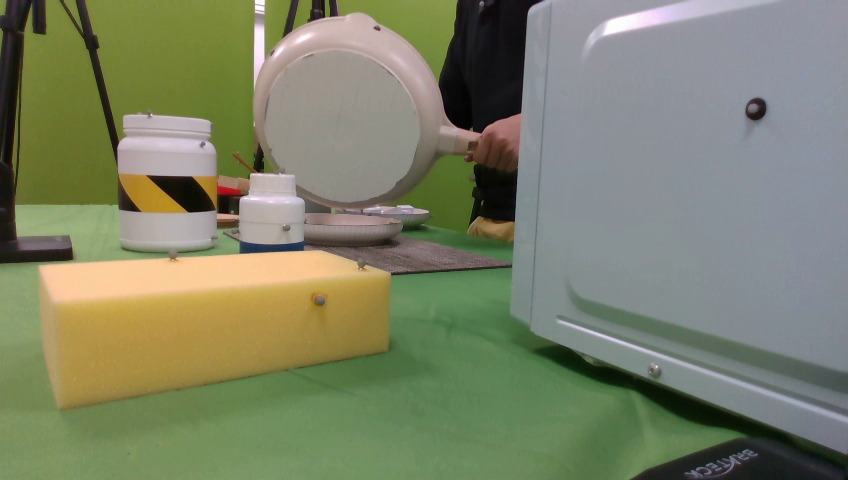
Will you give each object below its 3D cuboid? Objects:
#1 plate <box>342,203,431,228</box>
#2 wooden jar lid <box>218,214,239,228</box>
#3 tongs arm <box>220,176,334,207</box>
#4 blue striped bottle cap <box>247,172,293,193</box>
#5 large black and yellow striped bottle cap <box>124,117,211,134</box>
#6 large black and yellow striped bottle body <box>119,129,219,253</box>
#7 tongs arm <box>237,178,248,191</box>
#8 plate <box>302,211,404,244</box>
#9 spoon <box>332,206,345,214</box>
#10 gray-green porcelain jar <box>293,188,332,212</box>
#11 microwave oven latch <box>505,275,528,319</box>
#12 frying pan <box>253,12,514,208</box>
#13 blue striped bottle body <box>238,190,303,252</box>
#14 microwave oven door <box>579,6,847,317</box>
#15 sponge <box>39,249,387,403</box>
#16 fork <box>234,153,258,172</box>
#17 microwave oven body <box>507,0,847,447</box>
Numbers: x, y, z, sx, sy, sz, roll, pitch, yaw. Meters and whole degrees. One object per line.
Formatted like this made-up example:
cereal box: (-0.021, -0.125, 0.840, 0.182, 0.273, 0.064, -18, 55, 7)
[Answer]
plate: (-0.089, -0.053, 1.309, 0.208, 0.039, 0.207, 2, 8, 0)
wooden jar lid: (-0.404, -0.037, 1.169, 0.108, 0.020, 0.108, 3, 7, 0)
tongs arm: (-0.286, -0.104, 1.445, 0.389, 0.027, 0.028, 9, -4, -23)
blue striped bottle cap: (-0.152, -0.057, 0.598, 0.044, 0.020, 0.044, 3, 6, 0)
large black and yellow striped bottle cap: (-0.366, -0.163, 0.866, 0.115, 0.019, 0.115, 3, 7, 0)
large black and yellow striped bottle body: (-0.368, -0.080, 0.876, 0.131, 0.184, 0.130, 2, 7, 0)
tongs arm: (-0.242, -0.095, 1.374, 0.387, 0.026, 0.050, 9, 0, -37)
plate: (-0.139, -0.022, 1.020, 0.209, 0.038, 0.209, 2, 8, 0)
spoon: (-0.132, -0.102, 1.020, 0.022, 0.041, 0.193, 26, 32, -19)
gray-green porcelain jar: (-0.238, -0.092, 1.221, 0.106, 0.126, 0.106, 2, 7, 0)
microwave oven latch: (0.100, 0.041, 0.471, 0.079, 0.029, 0.030, -1, 7, -28)
frying pan: (-0.013, -0.165, 0.911, 0.489, 0.306, 0.102, 5, 28, -8)
blue striped bottle body: (-0.153, -0.007, 0.605, 0.063, 0.120, 0.063, 2, 7, 0)
microwave oven door: (0.294, -0.067, 0.570, 0.358, 0.243, 0.039, -3, 9, -31)
sponge: (-0.142, 0.047, 0.420, 0.208, 0.061, 0.117, -3, 8, -36)
fork: (-0.396, -0.143, 1.486, 0.028, 0.018, 0.208, 21, -26, 45)
microwave oven body: (0.331, -0.042, 0.425, 0.444, 0.260, 0.324, -2, 8, -31)
